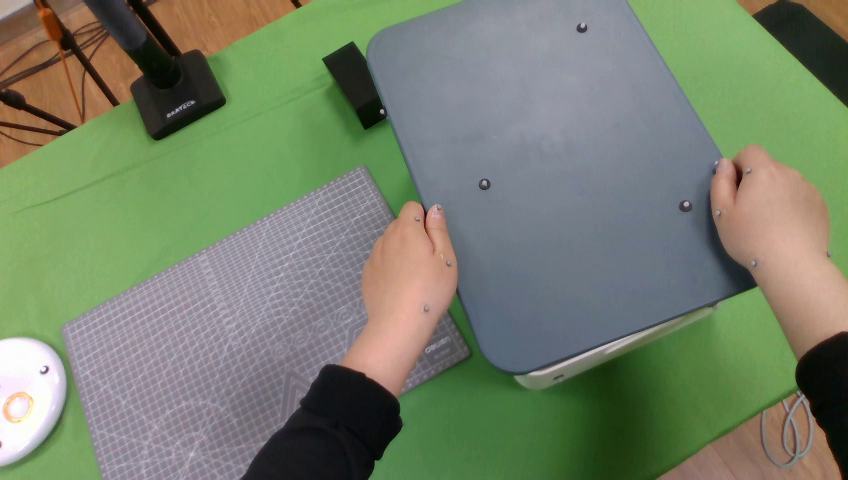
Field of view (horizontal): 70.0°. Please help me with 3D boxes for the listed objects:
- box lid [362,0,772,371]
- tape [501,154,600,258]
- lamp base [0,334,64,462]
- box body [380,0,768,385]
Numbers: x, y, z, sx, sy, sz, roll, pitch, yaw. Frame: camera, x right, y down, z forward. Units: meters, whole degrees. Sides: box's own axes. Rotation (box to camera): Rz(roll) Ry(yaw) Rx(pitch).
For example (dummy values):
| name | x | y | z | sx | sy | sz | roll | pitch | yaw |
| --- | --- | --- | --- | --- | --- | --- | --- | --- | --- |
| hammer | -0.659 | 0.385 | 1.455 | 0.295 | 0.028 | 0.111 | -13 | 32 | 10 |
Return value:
| name | x | y | z | sx | sy | sz | roll | pitch | yaw |
| --- | --- | --- | --- | --- | --- | --- | --- | --- | --- |
| box lid | 0.114 | -0.092 | 0.554 | 0.263 | 0.015 | 0.368 | -20 | 71 | -3 |
| tape | 0.148 | -0.041 | 0.718 | 0.117 | 0.053 | 0.116 | -3 | 68 | 8 |
| lamp base | -0.549 | 0.165 | 0.687 | 0.178 | 0.182 | 0.159 | 7 | 70 | 15 |
| box body | 0.140 | -0.050 | 0.669 | 0.254 | 0.161 | 0.361 | -25 | 67 | -1 |
